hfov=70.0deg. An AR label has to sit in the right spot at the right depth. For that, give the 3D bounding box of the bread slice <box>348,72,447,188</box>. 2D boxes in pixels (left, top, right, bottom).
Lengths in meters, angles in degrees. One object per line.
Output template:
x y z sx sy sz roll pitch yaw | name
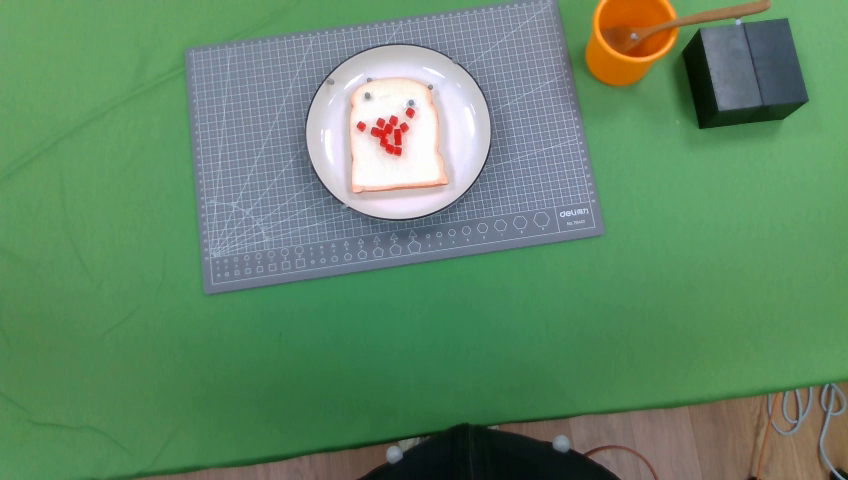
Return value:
-0.036 -0.124 0.684 0.107 0.018 0.133 -8 79 -2 | bread slice

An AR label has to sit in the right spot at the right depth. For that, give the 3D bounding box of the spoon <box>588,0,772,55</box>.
0.264 -0.231 0.647 0.022 0.192 0.041 28 73 -38 | spoon

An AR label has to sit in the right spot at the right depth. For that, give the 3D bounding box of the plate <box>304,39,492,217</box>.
-0.028 -0.124 0.683 0.209 0.038 0.208 0 79 1 | plate
